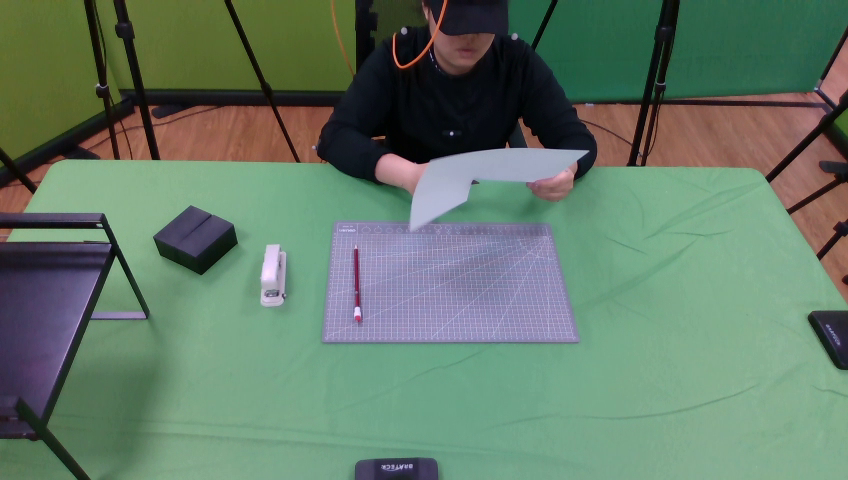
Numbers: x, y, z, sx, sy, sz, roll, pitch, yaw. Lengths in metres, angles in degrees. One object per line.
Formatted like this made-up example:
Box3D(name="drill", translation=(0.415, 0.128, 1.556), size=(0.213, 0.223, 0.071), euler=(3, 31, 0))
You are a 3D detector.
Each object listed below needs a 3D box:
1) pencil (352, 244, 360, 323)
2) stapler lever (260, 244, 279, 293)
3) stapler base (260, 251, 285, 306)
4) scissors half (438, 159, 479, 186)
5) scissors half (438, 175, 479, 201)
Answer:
Box3D(name="pencil", translation=(-0.127, 0.076, 1.120), size=(0.012, 0.012, 0.192), euler=(-2, 44, -7))
Box3D(name="stapler lever", translation=(-0.278, 0.045, 1.096), size=(0.027, 0.040, 0.117), euler=(-2, 44, -9))
Box3D(name="stapler base", translation=(-0.279, 0.064, 1.113), size=(0.041, 0.024, 0.129), euler=(-2, 44, -9))
Box3D(name="scissors half", translation=(0.067, -0.128, 1.182), size=(0.013, 0.040, 0.174), euler=(-1, 19, -24))
Box3D(name="scissors half", translation=(0.067, -0.106, 1.185), size=(0.013, 0.175, 0.040), euler=(-7, 85, -23))
